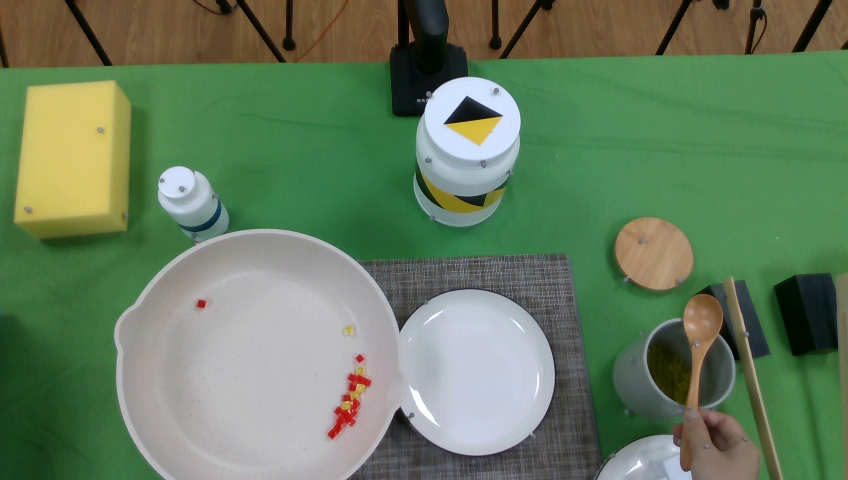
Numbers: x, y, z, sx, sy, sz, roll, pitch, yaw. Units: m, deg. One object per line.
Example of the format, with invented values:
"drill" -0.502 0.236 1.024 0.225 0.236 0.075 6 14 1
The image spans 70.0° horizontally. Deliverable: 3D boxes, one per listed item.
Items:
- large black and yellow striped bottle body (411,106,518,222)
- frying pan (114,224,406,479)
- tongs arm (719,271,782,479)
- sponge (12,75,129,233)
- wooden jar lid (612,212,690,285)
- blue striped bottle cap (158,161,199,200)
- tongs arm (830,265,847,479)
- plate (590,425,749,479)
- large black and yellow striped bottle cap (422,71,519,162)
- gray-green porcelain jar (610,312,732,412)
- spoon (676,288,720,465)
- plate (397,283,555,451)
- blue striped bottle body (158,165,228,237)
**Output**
"large black and yellow striped bottle body" 0.050 -0.116 0.792 0.131 0.185 0.130 1 69 -3
"frying pan" -0.186 0.219 0.615 0.308 0.103 0.484 18 60 -16
"tongs arm" 0.428 0.224 0.738 0.051 0.026 0.383 -7 80 -8
"sponge" -0.476 -0.118 0.826 0.118 0.061 0.205 -7 71 -6
"wooden jar lid" 0.315 0.013 0.848 0.108 0.021 0.107 1 71 -3
"blue striped bottle cap" -0.298 -0.073 0.734 0.044 0.021 0.044 1 71 -3
"tongs arm" 0.512 0.221 0.746 0.028 0.028 0.386 8 79 -9
"plate" 0.292 0.328 0.721 0.208 0.039 0.206 1 69 -3
"large black and yellow striped bottle cap" 0.055 -0.147 0.714 0.115 0.019 0.114 1 71 -3
"gray-green porcelain jar" 0.292 0.153 0.738 0.106 0.127 0.105 1 69 -2
"spoon" 0.292 0.145 0.662 0.041 0.022 0.192 8 68 25
"plate" 0.059 0.157 0.766 0.209 0.038 0.207 1 70 -2
"blue striped bottle body" -0.299 -0.054 0.781 0.063 0.121 0.062 1 69 -2
